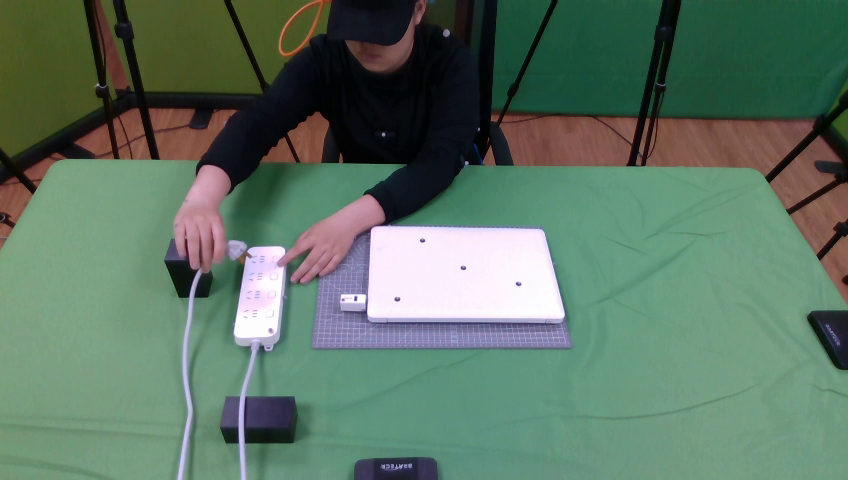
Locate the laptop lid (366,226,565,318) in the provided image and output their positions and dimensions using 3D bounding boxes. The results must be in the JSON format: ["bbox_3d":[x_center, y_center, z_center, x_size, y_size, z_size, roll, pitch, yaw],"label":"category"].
[{"bbox_3d":[0.072,0.055,1.137,0.357,0.013,0.240,2,44,-3],"label":"laptop lid"}]

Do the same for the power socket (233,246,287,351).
[{"bbox_3d":[-0.289,0.095,1.077,0.072,0.033,0.225,-2,46,-4],"label":"power socket"}]

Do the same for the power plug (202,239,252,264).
[{"bbox_3d":[-0.331,0.025,1.031,0.072,0.053,0.035,-28,30,23],"label":"power plug"}]

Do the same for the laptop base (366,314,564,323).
[{"bbox_3d":[0.071,0.065,1.144,0.355,0.023,0.234,1,43,-4],"label":"laptop base"}]

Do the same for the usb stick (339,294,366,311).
[{"bbox_3d":[-0.119,0.111,1.068,0.059,0.027,0.021,4,47,-5],"label":"usb stick"}]
